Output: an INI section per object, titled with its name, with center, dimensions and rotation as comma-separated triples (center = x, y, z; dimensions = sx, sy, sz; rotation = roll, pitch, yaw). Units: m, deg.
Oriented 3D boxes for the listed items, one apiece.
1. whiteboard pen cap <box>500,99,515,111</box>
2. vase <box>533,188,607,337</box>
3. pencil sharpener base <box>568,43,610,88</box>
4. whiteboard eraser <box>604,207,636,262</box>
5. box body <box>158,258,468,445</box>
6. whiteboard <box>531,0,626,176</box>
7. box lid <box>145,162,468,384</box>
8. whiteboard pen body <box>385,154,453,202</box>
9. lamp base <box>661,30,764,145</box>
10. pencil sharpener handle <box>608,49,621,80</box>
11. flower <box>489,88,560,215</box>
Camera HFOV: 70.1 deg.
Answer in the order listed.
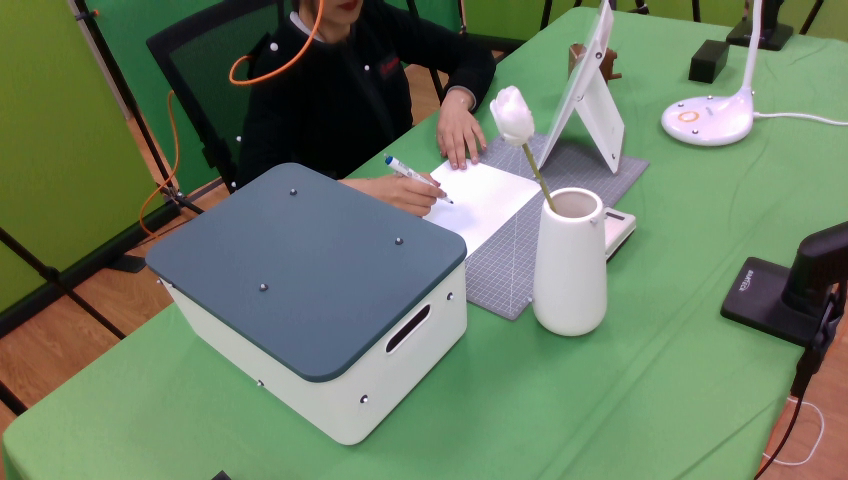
[whiteboard pen cap]
center = 0.177, -0.287, 1.290
dimensions = 0.033, 0.018, 0.018
rotation = -37, 47, -26
[vase]
center = 0.187, 0.033, 0.771
dimensions = 0.098, 0.201, 0.097
rotation = -6, 41, 6
[pencil sharpener base]
center = 0.345, -0.352, 1.263
dimensions = 0.077, 0.107, 0.061
rotation = -8, 40, 1
[whiteboard eraser]
center = 0.272, -0.003, 0.919
dimensions = 0.055, 0.042, 0.113
rotation = 27, 51, 32
[box body]
center = -0.147, 0.072, 0.816
dimensions = 0.361, 0.161, 0.255
rotation = 24, 50, 33
[whiteboard]
center = 0.320, -0.259, 1.050
dimensions = 0.144, 0.306, 0.217
rotation = 22, 45, 6
[box lid]
center = -0.157, 0.014, 0.769
dimensions = 0.368, 0.015, 0.264
rotation = 25, 51, 33
[whiteboard pen body]
center = -0.005, -0.096, 0.973
dimensions = 0.017, 0.142, 0.017
rotation = -39, 33, 33
[lamp base]
center = 0.535, -0.287, 1.096
dimensions = 0.179, 0.181, 0.159
rotation = -10, 40, -4
[pencil sharpener handle]
center = 0.394, -0.367, 1.253
dimensions = 0.030, 0.068, 0.036
rotation = -8, 32, 1
[flower]
center = 0.158, -0.027, 0.720
dimensions = 0.038, 0.364, 0.044
rotation = -14, 44, 23
